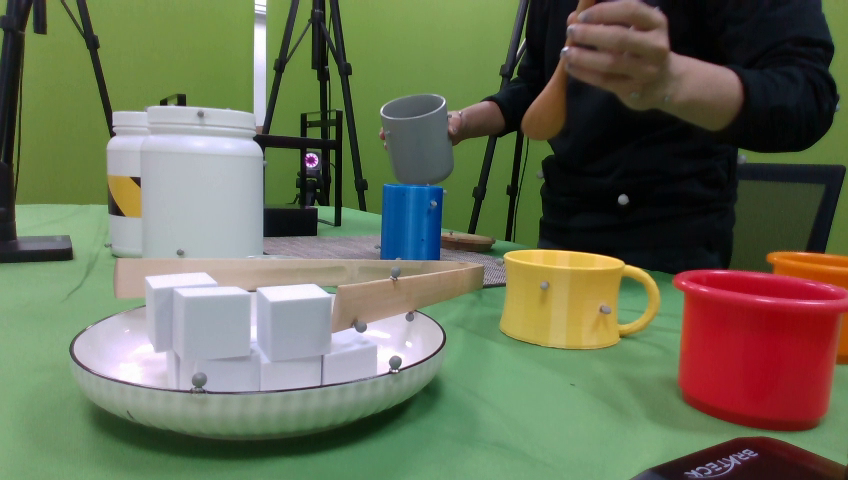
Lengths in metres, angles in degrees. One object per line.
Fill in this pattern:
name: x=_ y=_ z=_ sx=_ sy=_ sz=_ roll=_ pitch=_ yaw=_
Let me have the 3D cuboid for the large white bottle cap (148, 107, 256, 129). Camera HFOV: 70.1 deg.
large white bottle cap: x=-0.250 y=-0.137 z=0.686 sx=0.115 sy=0.018 sz=0.115 roll=3 pitch=8 yaw=0

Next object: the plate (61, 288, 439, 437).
plate: x=-0.095 y=0.069 z=0.362 sx=0.208 sy=0.039 sz=0.207 roll=3 pitch=7 yaw=0

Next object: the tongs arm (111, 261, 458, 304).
tongs arm: x=-0.080 y=0.032 z=0.527 sx=0.028 sy=0.027 sz=0.389 roll=-3 pitch=-3 yaw=33

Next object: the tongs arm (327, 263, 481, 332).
tongs arm: x=-0.003 y=0.036 z=0.493 sx=0.050 sy=0.026 sz=0.386 roll=1 pitch=0 yaw=19

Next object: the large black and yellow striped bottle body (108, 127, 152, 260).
large black and yellow striped bottle body: x=-0.350 y=-0.071 z=0.812 sx=0.131 sy=0.184 sz=0.130 roll=2 pitch=7 yaw=0

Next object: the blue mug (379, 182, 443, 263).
blue mug: x=-0.020 y=-0.026 z=0.833 sx=0.082 sy=0.106 sz=0.116 roll=1 pitch=7 yaw=-7

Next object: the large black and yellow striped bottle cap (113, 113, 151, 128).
large black and yellow striped bottle cap: x=-0.348 y=-0.154 z=0.800 sx=0.115 sy=0.019 sz=0.115 roll=2 pitch=6 yaw=0

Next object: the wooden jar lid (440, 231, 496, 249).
wooden jar lid: x=0.066 y=0.000 z=1.011 sx=0.108 sy=0.020 sz=0.108 roll=6 pitch=6 yaw=0

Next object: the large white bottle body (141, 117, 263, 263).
large white bottle body: x=-0.254 y=-0.054 z=0.697 sx=0.131 sy=0.184 sz=0.130 roll=2 pitch=7 yaw=0

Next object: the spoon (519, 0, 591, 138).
spoon: x=0.131 y=-0.177 z=0.563 sx=0.041 sy=0.193 sz=0.021 roll=13 pitch=36 yaw=-1

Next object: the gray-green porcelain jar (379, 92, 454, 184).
gray-green porcelain jar: x=-0.009 y=-0.159 z=0.972 sx=0.106 sy=0.126 sz=0.105 roll=-7 pitch=33 yaw=5

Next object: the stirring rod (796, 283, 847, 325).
stirring rod: x=0.347 y=0.019 z=0.460 sx=0.014 sy=0.176 sz=0.006 roll=-17 pitch=59 yaw=-25

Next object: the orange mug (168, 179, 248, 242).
orange mug: x=-0.351 y=-0.050 z=0.986 sx=0.126 sy=0.101 sz=0.083 roll=-3 pitch=8 yaw=-9

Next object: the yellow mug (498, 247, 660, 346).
yellow mug: x=0.130 y=0.045 z=0.508 sx=0.131 sy=0.064 sz=0.100 roll=4 pitch=7 yaw=6

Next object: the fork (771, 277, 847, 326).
fork: x=0.335 y=0.018 z=0.443 sx=0.028 sy=0.018 sz=0.207 roll=-1 pitch=-36 yaw=-19

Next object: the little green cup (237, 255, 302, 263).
little green cup: x=-0.150 y=0.038 z=0.590 sx=0.061 sy=0.038 sz=0.061 roll=3 pitch=7 yaw=0
